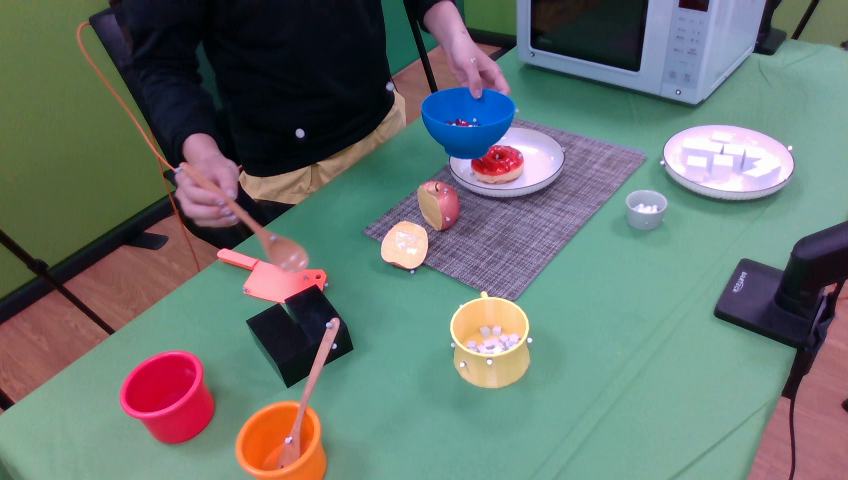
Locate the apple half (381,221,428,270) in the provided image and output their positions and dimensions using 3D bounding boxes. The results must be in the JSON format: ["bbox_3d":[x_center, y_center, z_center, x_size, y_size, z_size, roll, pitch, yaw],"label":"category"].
[{"bbox_3d":[-0.025,0.012,0.946,0.081,0.033,0.081,-5,73,16],"label":"apple half"}]

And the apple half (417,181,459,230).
[{"bbox_3d":[0.030,-0.060,0.996,0.053,0.075,0.080,-23,39,-22],"label":"apple half"}]

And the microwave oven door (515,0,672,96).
[{"bbox_3d":[0.344,-0.455,1.259,0.353,0.245,0.039,26,51,33],"label":"microwave oven door"}]

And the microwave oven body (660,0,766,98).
[{"bbox_3d":[0.473,-0.514,1.317,0.438,0.261,0.327,26,51,34],"label":"microwave oven body"}]

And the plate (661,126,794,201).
[{"bbox_3d":[0.513,-0.128,1.035,0.207,0.039,0.206,-4,40,4],"label":"plate"}]

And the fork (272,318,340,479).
[{"bbox_3d":[-0.131,0.186,0.676,0.028,0.019,0.207,17,90,28],"label":"fork"}]

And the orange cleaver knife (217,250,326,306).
[{"bbox_3d":[-0.248,0.059,0.945,0.210,0.012,0.077,13,49,20],"label":"orange cleaver knife"}]

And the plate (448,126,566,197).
[{"bbox_3d":[0.150,-0.138,1.097,0.209,0.038,0.208,-4,40,4],"label":"plate"}]

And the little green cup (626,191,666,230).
[{"bbox_3d":[0.352,-0.046,0.963,0.061,0.039,0.061,-4,40,4],"label":"little green cup"}]

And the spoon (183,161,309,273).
[{"bbox_3d":[-0.220,-0.030,0.753,0.041,0.195,0.021,-50,22,-15],"label":"spoon"}]

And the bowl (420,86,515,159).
[{"bbox_3d":[0.069,-0.183,0.975,0.151,0.077,0.150,-1,37,1],"label":"bowl"}]

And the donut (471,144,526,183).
[{"bbox_3d":[0.134,-0.139,1.083,0.099,0.048,0.098,-6,38,5],"label":"donut"}]

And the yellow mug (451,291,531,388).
[{"bbox_3d":[0.085,0.120,0.786,0.100,0.064,0.130,-7,39,1],"label":"yellow mug"}]

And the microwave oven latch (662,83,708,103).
[{"bbox_3d":[0.518,-0.297,1.204,0.078,0.029,0.030,28,52,35],"label":"microwave oven latch"}]
